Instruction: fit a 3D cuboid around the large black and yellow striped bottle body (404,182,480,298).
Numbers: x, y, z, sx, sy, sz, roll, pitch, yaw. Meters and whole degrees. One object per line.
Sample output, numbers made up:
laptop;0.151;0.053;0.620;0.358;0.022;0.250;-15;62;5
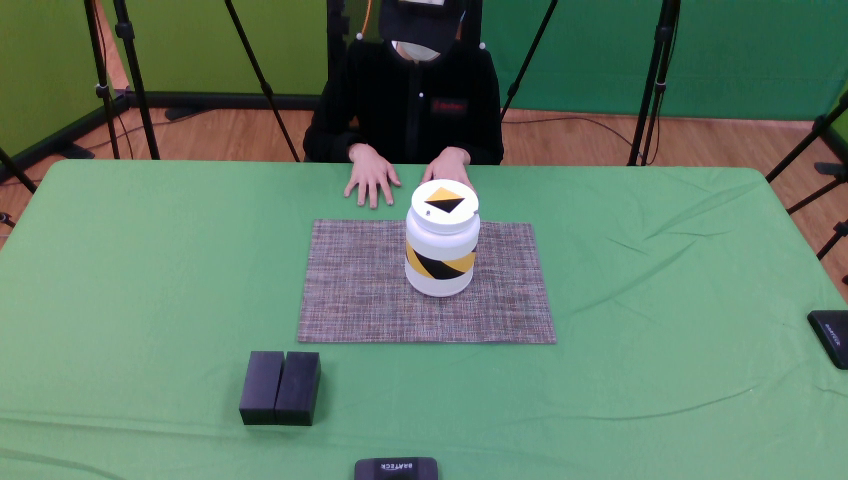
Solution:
large black and yellow striped bottle body;0.030;-0.001;1.084;0.131;0.185;0.130;2;46;-2

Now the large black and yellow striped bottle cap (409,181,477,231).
large black and yellow striped bottle cap;0.033;-0.059;1.023;0.115;0.019;0.114;3;44;-2
